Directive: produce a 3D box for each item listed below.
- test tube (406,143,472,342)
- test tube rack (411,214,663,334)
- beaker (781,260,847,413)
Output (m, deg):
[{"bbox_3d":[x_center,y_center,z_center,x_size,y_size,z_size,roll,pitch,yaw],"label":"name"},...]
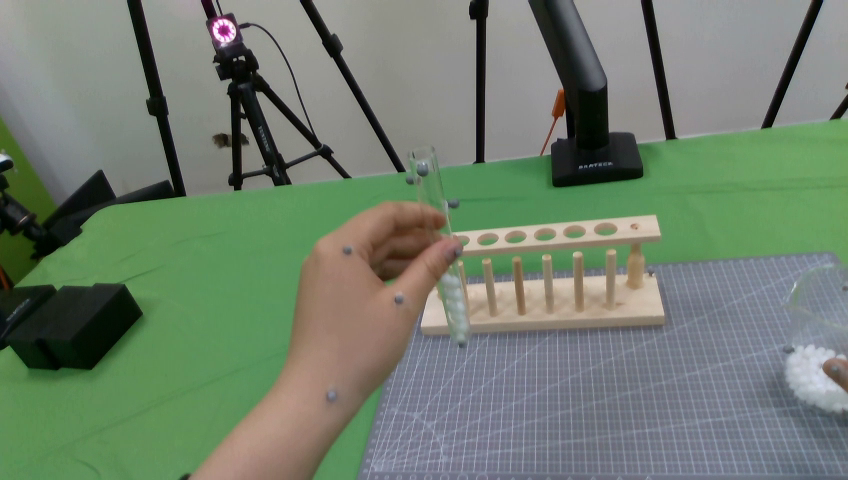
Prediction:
[{"bbox_3d":[0.012,0.009,0.366,0.017,0.152,0.017,-8,39,7],"label":"test tube"},{"bbox_3d":[0.111,0.037,0.617,0.242,0.086,0.066,-5,35,14],"label":"test tube rack"},{"bbox_3d":[0.318,0.078,0.467,0.084,0.101,0.073,-5,35,16],"label":"beaker"}]
